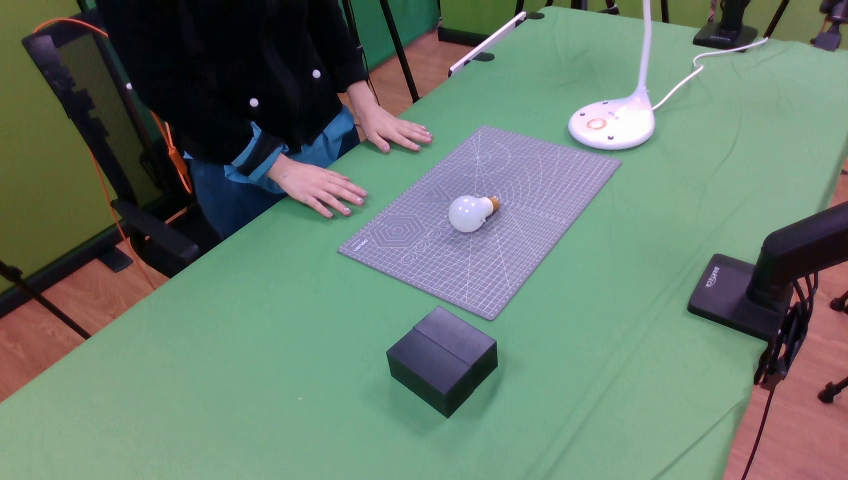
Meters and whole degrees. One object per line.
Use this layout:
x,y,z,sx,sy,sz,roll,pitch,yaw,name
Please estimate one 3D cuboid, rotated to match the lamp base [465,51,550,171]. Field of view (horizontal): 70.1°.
0.159,-0.243,1.103,0.180,0.181,0.159,-31,46,-29,lamp base
